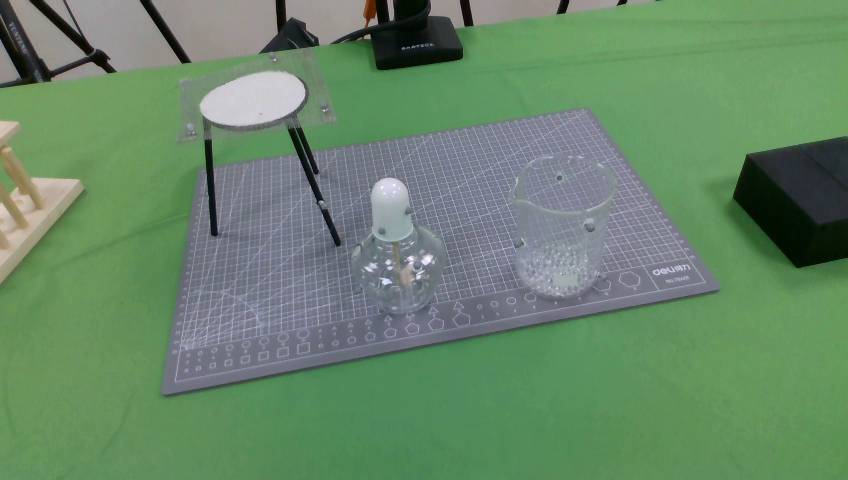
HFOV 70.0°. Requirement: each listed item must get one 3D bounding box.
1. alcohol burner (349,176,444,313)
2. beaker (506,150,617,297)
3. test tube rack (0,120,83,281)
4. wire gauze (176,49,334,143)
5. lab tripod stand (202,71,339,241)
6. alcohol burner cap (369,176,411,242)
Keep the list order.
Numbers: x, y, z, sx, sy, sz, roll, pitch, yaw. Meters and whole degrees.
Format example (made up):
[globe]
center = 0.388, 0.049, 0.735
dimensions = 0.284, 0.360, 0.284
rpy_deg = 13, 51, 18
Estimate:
[alcohol burner]
center = -0.024, 0.001, 0.479
dimensions = 0.078, 0.120, 0.077
rpy_deg = -3, 41, 3
[beaker]
center = 0.106, -0.009, 0.488
dimensions = 0.084, 0.101, 0.073
rpy_deg = -13, 43, -6
[test tube rack]
center = -0.425, -0.007, 0.552
dimensions = 0.066, 0.086, 0.240
rpy_deg = 4, 44, 9
[wire gauze]
center = -0.146, -0.122, 0.508
dimensions = 0.125, 0.011, 0.120
rpy_deg = -14, 44, -8
[lab tripod stand]
center = -0.141, -0.073, 0.555
dimensions = 0.148, 0.133, 0.147
rpy_deg = -3, 45, 3
[alcohol burner cap]
center = -0.027, -0.025, 0.454
dimensions = 0.034, 0.048, 0.033
rpy_deg = -1, 41, 1
